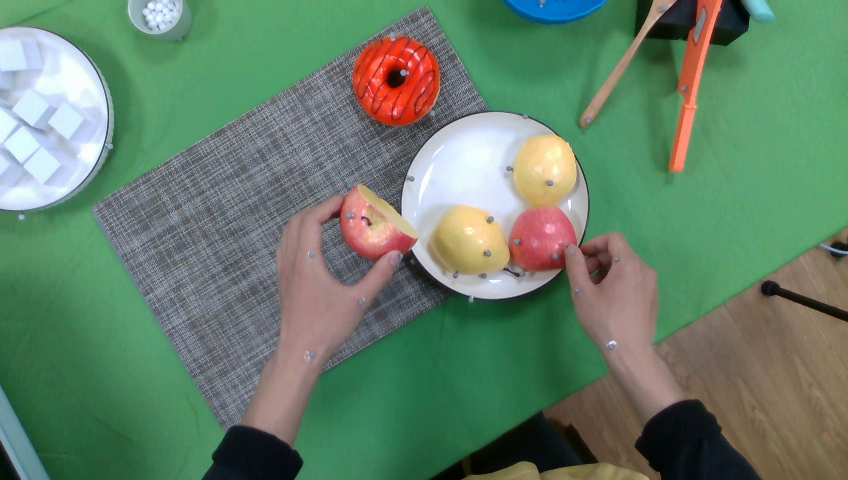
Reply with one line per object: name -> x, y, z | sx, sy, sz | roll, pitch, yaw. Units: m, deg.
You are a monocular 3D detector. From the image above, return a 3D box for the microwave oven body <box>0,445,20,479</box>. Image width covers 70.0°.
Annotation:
microwave oven body -> -0.597, 0.287, 0.579 | 0.326, 0.260, 0.441 | -28, 91, 1

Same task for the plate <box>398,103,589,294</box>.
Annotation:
plate -> 0.076, -0.045, 0.673 | 0.209, 0.038, 0.209 | 0, 91, 1

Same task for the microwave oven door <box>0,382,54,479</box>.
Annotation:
microwave oven door -> -0.449, 0.256, 0.571 | 0.039, 0.244, 0.355 | -29, 90, 1

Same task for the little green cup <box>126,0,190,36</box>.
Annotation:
little green cup -> -0.296, -0.261, 0.681 | 0.061, 0.038, 0.061 | 0, 90, 2

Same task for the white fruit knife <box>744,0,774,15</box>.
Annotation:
white fruit knife -> 0.303, -0.323, 0.631 | 0.027, 0.016, 0.207 | -29, 88, -28

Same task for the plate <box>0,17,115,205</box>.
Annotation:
plate -> -0.448, -0.142, 0.685 | 0.208, 0.039, 0.207 | 0, 91, 1

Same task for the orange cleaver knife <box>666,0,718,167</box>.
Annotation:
orange cleaver knife -> 0.285, -0.186, 0.649 | 0.012, 0.076, 0.213 | 6, 116, 6

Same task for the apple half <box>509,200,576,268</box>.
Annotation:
apple half -> 0.121, -0.006, 0.653 | 0.081, 0.033, 0.081 | 2, 94, 30

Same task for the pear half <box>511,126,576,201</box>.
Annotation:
pear half -> 0.126, -0.078, 0.658 | 0.070, 0.031, 0.088 | 4, 105, 26

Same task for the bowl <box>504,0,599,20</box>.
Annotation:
bowl -> 0.134, -0.304, 0.653 | 0.151, 0.077, 0.151 | 0, 91, 1

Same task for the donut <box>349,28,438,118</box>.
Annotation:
donut -> -0.034, -0.184, 0.670 | 0.099, 0.048, 0.099 | 0, 93, 4

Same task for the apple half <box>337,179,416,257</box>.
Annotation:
apple half -> -0.052, -0.014, 0.589 | 0.081, 0.074, 0.053 | 43, 100, 0

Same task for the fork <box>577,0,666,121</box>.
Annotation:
fork -> 0.224, -0.218, 0.648 | 0.028, 0.018, 0.208 | 27, 111, -7

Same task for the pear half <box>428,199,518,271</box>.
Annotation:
pear half -> 0.060, 0.003, 0.661 | 0.110, 0.056, 0.076 | 32, 96, -3
